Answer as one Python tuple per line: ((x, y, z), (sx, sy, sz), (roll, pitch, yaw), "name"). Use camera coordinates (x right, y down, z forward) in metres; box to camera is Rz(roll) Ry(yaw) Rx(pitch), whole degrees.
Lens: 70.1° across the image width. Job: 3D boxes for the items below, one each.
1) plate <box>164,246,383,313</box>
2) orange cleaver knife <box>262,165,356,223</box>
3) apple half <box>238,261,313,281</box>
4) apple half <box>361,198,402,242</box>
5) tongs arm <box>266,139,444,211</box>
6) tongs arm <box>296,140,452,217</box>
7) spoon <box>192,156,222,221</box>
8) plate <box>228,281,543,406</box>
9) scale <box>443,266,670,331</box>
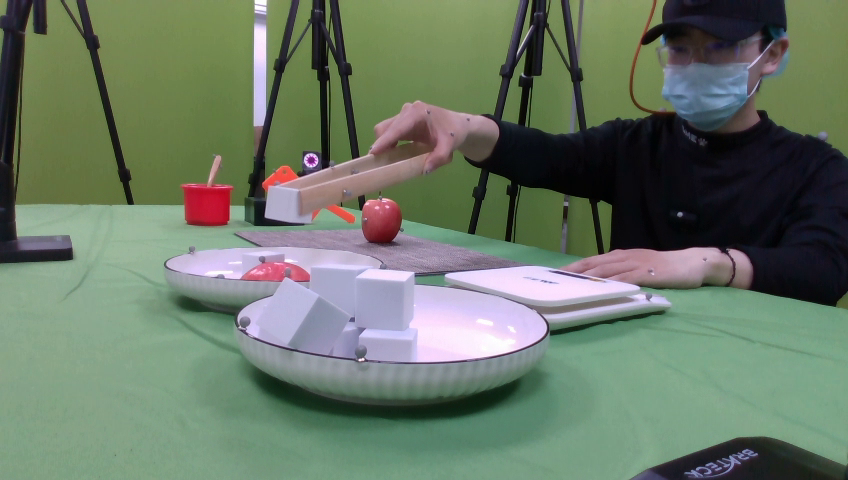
((-0.145, 0.038, 0.600), (0.209, 0.038, 0.209), (2, 7, 0), "plate")
((-0.243, -0.081, 1.292), (0.212, 0.077, 0.012), (34, -8, -26), "orange cleaver knife")
((-0.141, 0.036, 0.578), (0.081, 0.033, 0.081), (2, 11, 0), "apple half")
((-0.066, -0.032, 1.014), (0.053, 0.074, 0.081), (9, 6, 20), "apple half")
((-0.060, -0.088, 0.740), (0.050, 0.026, 0.386), (9, 19, 19), "tongs arm")
((-0.039, -0.084, 0.732), (0.028, 0.028, 0.389), (7, 18, 24), "tongs arm")
((-0.430, -0.108, 1.222), (0.041, 0.021, 0.193), (-1, 52, 0), "spoon")
((-0.025, 0.067, 0.413), (0.208, 0.039, 0.207), (3, 7, 0), "plate")
((0.131, 0.052, 0.603), (0.202, 0.031, 0.148), (-2, 9, -37), "scale")
